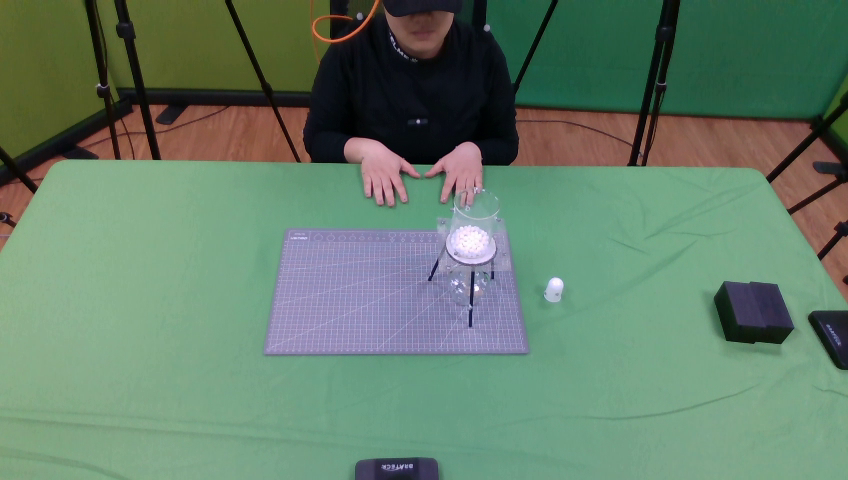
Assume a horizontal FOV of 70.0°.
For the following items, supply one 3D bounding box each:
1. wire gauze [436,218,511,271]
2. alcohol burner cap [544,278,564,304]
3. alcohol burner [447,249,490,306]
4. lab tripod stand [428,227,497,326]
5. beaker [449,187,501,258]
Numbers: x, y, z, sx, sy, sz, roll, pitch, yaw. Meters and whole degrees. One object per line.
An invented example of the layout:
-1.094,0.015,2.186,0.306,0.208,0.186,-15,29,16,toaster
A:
0.083,0.007,1.026,0.121,0.011,0.124,3,44,-5,wire gauze
0.241,0.090,1.118,0.034,0.048,0.033,1,45,-1,alcohol burner cap
0.079,0.062,1.078,0.078,0.120,0.077,1,45,-1,alcohol burner
0.079,0.056,1.070,0.148,0.132,0.147,3,47,-3,lab tripod stand
0.080,-0.027,0.991,0.074,0.101,0.083,3,46,-3,beaker
